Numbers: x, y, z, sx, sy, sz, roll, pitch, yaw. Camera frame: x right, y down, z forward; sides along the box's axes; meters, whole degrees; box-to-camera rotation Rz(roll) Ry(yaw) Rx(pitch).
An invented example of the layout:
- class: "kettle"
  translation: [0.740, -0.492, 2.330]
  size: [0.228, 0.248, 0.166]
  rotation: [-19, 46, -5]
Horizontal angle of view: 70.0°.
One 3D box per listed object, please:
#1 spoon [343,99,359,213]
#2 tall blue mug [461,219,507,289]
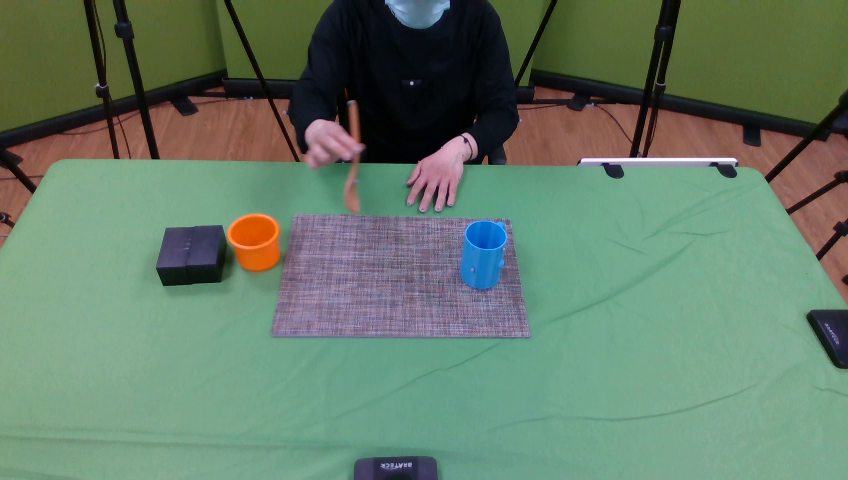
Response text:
- class: "spoon"
  translation: [-0.121, -0.142, 1.036]
  size: [0.021, 0.194, 0.041]
  rotation: [13, 18, 22]
- class: "tall blue mug"
  translation: [0.111, 0.015, 1.122]
  size: [0.078, 0.108, 0.106]
  rotation: [6, 46, 4]
